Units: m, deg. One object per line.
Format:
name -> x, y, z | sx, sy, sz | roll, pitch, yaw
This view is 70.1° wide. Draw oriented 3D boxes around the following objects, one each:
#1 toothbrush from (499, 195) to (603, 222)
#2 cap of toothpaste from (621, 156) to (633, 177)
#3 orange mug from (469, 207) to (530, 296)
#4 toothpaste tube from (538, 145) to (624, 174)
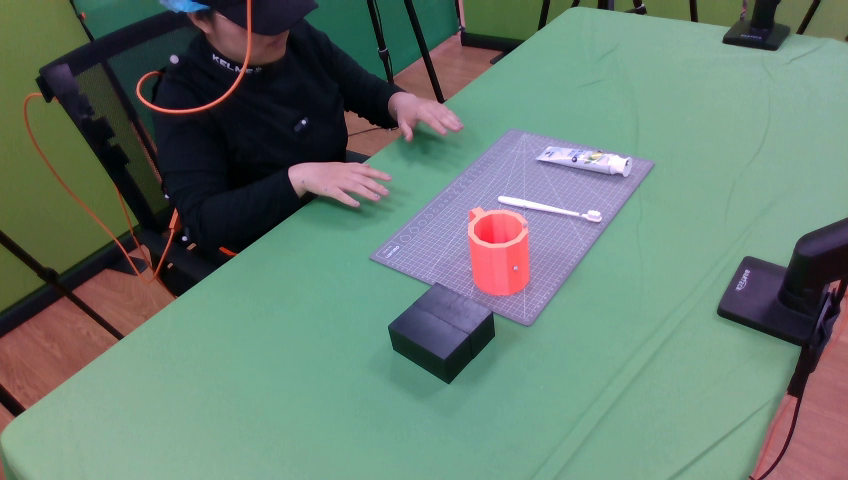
toothbrush -> 0.209, -0.055, 1.010 | 0.180, 0.017, 0.014 | 13, 62, 27
cap of toothpaste -> 0.352, -0.128, 1.051 | 0.011, 0.037, 0.037 | 18, 47, 35
orange mug -> 0.104, 0.008, 0.893 | 0.084, 0.101, 0.125 | -22, 46, -14
toothpaste tube -> 0.292, -0.148, 1.097 | 0.164, 0.034, 0.055 | 17, 41, 34
